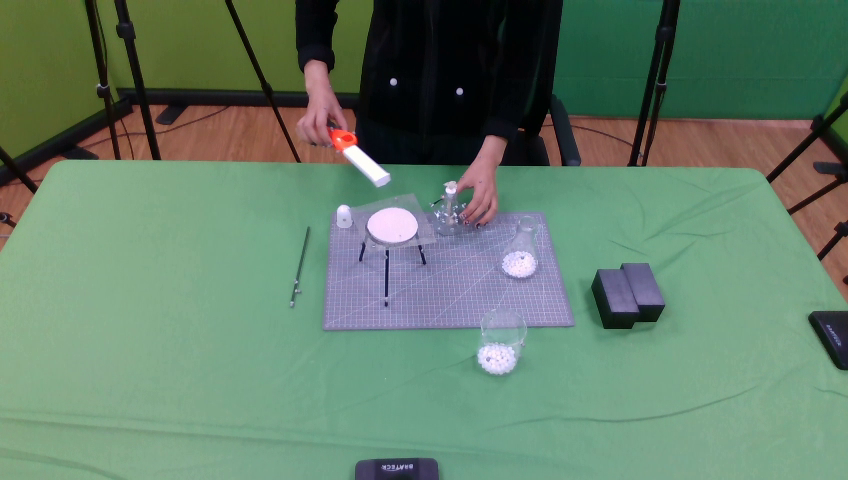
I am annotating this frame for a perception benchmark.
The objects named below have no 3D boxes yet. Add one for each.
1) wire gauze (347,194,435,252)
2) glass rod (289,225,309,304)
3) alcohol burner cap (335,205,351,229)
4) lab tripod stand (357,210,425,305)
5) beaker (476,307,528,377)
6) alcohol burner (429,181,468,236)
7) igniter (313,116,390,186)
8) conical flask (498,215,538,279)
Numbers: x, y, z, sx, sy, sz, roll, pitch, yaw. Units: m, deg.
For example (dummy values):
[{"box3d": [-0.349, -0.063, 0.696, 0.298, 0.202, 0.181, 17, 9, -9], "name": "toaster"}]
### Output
[{"box3d": [-0.058, -0.029, 1.048, 0.125, 0.011, 0.120, -12, 48, -16], "name": "wire gauze"}, {"box3d": [-0.235, 0.043, 1.149, 0.008, 0.008, 0.198, 3, 46, -1], "name": "glass rod"}, {"box3d": [-0.164, -0.049, 1.216, 0.034, 0.048, 0.033, 1, 45, -1], "name": "alcohol burner cap"}, {"box3d": [-0.060, 0.020, 1.094, 0.148, 0.132, 0.147, 3, 44, -2], "name": "lab tripod stand"}, {"box3d": [0.122, 0.171, 0.991, 0.084, 0.101, 0.073, -34, 56, -31], "name": "beaker"}, {"box3d": [0.049, -0.067, 1.201, 0.078, 0.120, 0.077, 1, 46, -1], "name": "alcohol burner"}, {"box3d": [-0.149, -0.181, 1.188, 0.057, 0.025, 0.274, -28, 47, -20], "name": "igniter"}, {"box3d": [0.183, 0.010, 1.132, 0.075, 0.122, 0.075, 2, 46, -2], "name": "conical flask"}]
